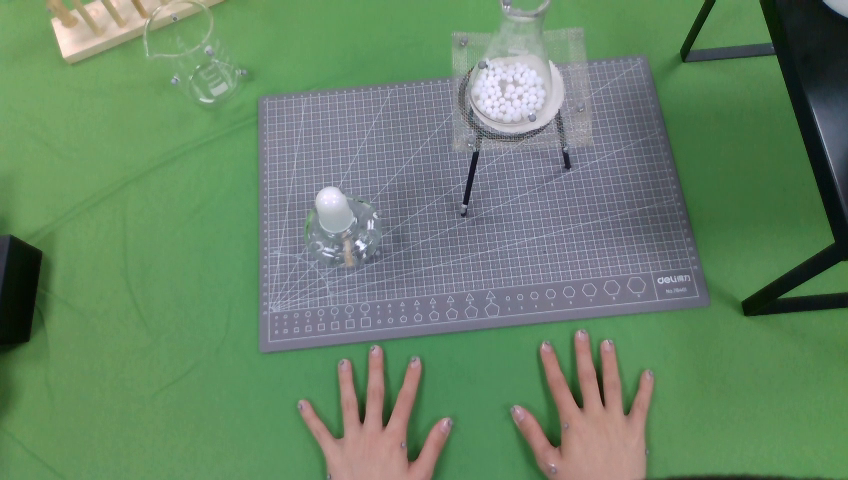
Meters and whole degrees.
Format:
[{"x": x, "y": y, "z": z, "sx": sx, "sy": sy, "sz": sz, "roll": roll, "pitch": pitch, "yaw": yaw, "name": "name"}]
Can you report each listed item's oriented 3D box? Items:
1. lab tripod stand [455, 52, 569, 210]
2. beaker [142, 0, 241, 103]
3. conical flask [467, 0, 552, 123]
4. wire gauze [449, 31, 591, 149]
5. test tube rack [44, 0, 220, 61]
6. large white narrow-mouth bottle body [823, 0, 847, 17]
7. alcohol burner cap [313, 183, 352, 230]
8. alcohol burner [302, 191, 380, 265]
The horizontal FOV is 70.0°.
[{"x": 0.080, "y": -0.110, "z": 0.600, "sx": 0.148, "sy": 0.132, "sz": 0.147, "roll": 0, "pitch": 69, "yaw": 2, "name": "lab tripod stand"}, {"x": -0.254, "y": -0.204, "z": 0.671, "sx": 0.073, "sy": 0.101, "sz": 0.084, "roll": 40, "pitch": 77, "yaw": 16, "name": "beaker"}, {"x": 0.072, "y": -0.154, "z": 0.482, "sx": 0.075, "sy": 0.122, "sz": 0.075, "roll": -1, "pitch": 70, "yaw": 2, "name": "conical flask"}, {"x": 0.084, "y": -0.137, "z": 0.539, "sx": 0.121, "sy": 0.011, "sz": 0.124, "roll": 0, "pitch": 68, "yaw": 0, "name": "wire gauze"}, {"x": -0.340, "y": -0.309, "z": 0.719, "sx": 0.242, "sy": 0.086, "sz": 0.066, "roll": -25, "pitch": 71, "yaw": -6, "name": "test tube rack"}, {"x": 0.364, "y": -0.252, "z": 0.417, "sx": 0.102, "sy": 0.196, "sz": 0.101, "roll": -1, "pitch": 68, "yaw": 2, "name": "large white narrow-mouth bottle body"}, {"x": -0.085, "y": -0.033, "z": 0.553, "sx": 0.034, "sy": 0.048, "sz": 0.033, "roll": 0, "pitch": 64, "yaw": 0, "name": "alcohol burner cap"}, {"x": -0.083, "y": -0.019, "z": 0.587, "sx": 0.078, "sy": 0.120, "sz": 0.077, "roll": 0, "pitch": 69, "yaw": 1, "name": "alcohol burner"}]
